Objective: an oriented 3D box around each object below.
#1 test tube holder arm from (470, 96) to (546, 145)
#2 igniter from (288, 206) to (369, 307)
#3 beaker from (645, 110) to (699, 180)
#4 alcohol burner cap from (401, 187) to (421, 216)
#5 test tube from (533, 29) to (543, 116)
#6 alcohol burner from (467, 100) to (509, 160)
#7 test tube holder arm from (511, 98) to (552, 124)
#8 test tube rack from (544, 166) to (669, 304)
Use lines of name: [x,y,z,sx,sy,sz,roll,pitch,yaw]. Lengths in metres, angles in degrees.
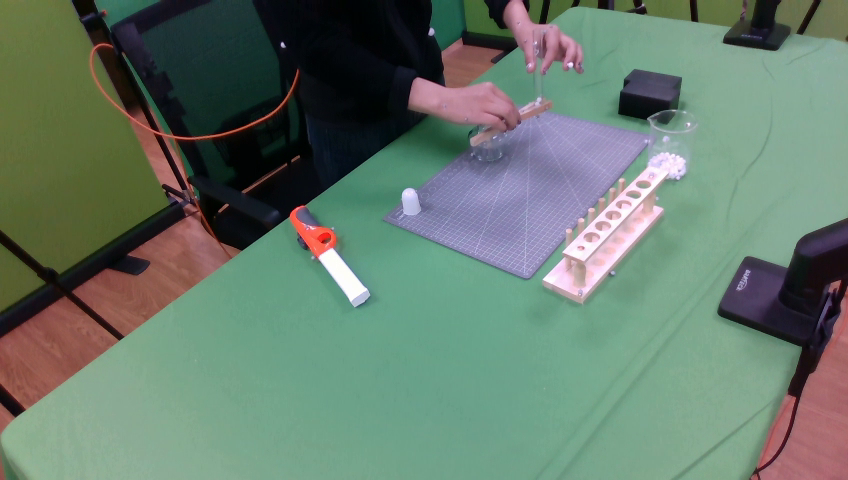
test tube holder arm: [0.146,-0.205,1.033,0.179,0.015,0.013,-32,42,-25]
igniter: [-0.163,0.018,0.986,0.057,0.025,0.274,-33,45,-12]
beaker: [0.417,-0.160,1.032,0.083,0.101,0.074,25,51,35]
alcohol burner cap: [-0.025,-0.070,1.048,0.034,0.048,0.033,-5,41,5]
test tube: [0.193,-0.281,1.027,0.017,0.151,0.017,-5,35,4]
alcohol burner: [0.118,-0.210,1.131,0.078,0.119,0.077,-6,42,6]
test tube holder arm: [0.185,-0.224,1.047,0.088,0.015,0.010,-26,40,-18]
test tube rack: [0.274,-0.018,0.903,0.066,0.085,0.243,26,51,35]
